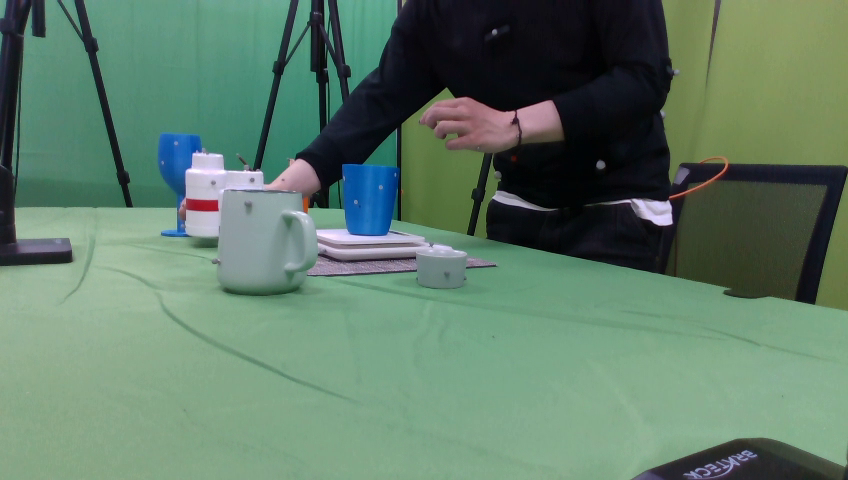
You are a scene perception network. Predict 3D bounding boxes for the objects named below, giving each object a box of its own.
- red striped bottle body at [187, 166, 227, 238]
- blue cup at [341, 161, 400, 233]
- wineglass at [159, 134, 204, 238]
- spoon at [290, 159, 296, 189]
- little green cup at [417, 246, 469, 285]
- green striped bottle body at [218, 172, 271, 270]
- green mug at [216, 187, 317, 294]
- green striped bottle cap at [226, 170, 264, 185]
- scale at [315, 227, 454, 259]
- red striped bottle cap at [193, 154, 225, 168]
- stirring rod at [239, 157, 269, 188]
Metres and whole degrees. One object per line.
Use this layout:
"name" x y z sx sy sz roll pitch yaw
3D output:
"red striped bottle body" -0.325 -0.066 0.916 0.063 0.119 0.063 3 10 0
"blue cup" -0.080 -0.062 0.883 0.093 0.100 0.092 3 4 0
"wineglass" -0.415 -0.093 1.040 0.074 0.172 0.073 2 7 0
"spoon" -0.273 -0.102 1.252 0.042 0.193 0.021 7 -38 -17
"little green cup" 0.021 0.029 0.701 0.061 0.038 0.061 1 6 0
"green striped bottle body" -0.223 -0.025 0.755 0.063 0.119 0.063 1 7 0
"green mug" -0.157 0.000 0.629 0.124 0.105 0.093 7 9 37
"green striped bottle cap" -0.222 -0.076 0.748 0.044 0.020 0.044 1 7 0
"scale" -0.066 0.001 0.906 0.202 0.031 0.148 -2 8 -31
"red striped bottle cap" -0.322 -0.118 0.907 0.044 0.017 0.044 2 13 0
"stirring rod" -0.308 -0.099 1.209 0.006 0.177 0.014 -39 29 -2
